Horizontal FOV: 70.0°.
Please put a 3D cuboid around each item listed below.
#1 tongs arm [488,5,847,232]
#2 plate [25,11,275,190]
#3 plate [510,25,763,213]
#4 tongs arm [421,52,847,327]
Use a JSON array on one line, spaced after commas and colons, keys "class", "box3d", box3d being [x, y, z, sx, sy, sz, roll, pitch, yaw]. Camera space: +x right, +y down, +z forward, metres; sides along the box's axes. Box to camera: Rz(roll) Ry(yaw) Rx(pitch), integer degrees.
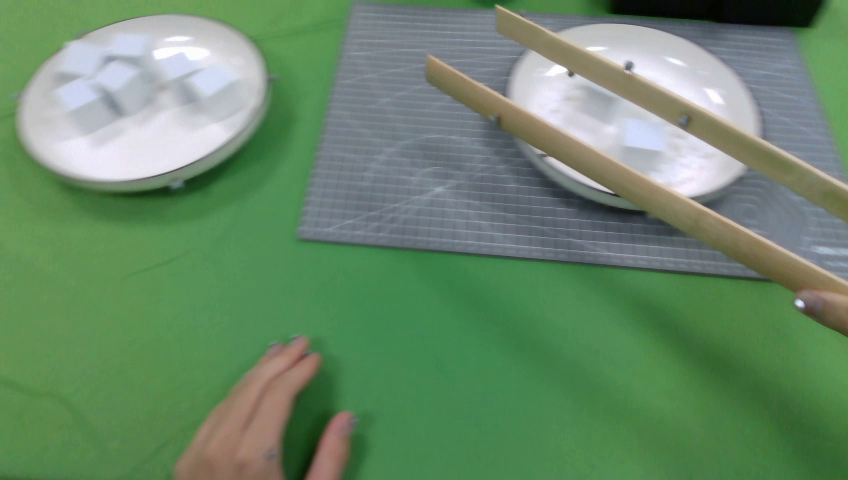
[{"class": "tongs arm", "box3d": [0.179, -0.055, 0.389, 0.382, 0.027, 0.050, 36, 63, 22]}, {"class": "plate", "box3d": [-0.234, -0.123, 0.537, 0.208, 0.039, 0.205, 0, 57, 0]}, {"class": "plate", "box3d": [0.177, -0.105, 0.522, 0.209, 0.038, 0.207, 0, 57, 0]}, {"class": "tongs arm", "box3d": [0.149, -0.028, 0.372, 0.385, 0.028, 0.028, 34, 59, 21]}]
